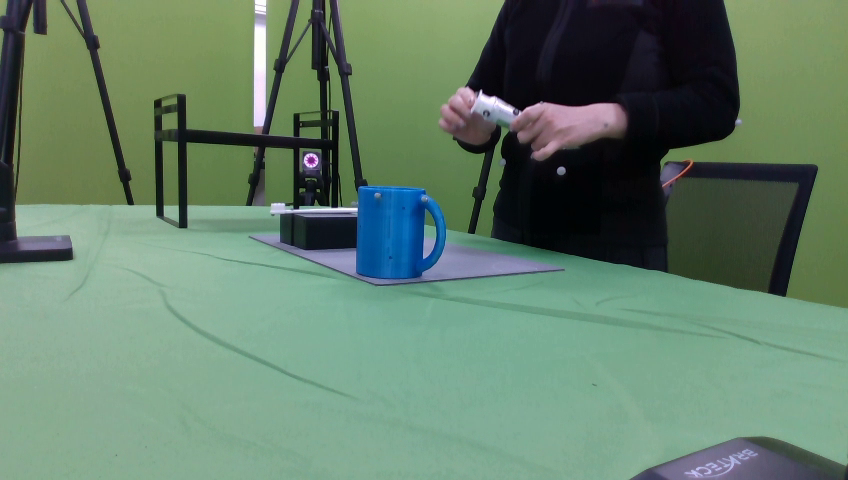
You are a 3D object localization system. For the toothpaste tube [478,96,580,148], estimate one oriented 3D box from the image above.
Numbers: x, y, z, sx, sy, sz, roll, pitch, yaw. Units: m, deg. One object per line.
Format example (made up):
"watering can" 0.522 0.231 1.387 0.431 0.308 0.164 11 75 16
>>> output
"toothpaste tube" 0.152 -0.171 0.896 0.165 0.034 0.055 22 9 -10

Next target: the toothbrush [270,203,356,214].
"toothbrush" -0.156 -0.050 0.958 0.183 0.016 0.014 -2 2 -33

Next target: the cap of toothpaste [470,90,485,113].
"cap of toothpaste" 0.079 -0.201 0.884 0.011 0.037 0.037 21 4 -11

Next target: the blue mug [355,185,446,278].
"blue mug" -0.027 -0.011 0.723 0.116 0.106 0.083 6 8 27
